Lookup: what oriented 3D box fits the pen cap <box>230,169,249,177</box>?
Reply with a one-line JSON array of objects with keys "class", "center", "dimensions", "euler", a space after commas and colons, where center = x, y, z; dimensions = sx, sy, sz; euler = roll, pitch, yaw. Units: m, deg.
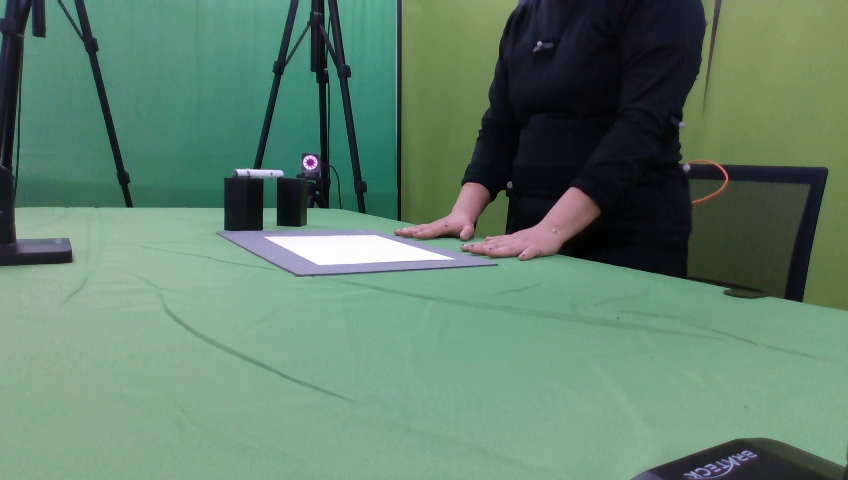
[{"class": "pen cap", "center": [-0.347, -0.125, 1.138], "dimensions": [0.017, 0.017, 0.038], "euler": [6, 8, 21]}]

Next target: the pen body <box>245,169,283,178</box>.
[{"class": "pen body", "center": [-0.325, -0.130, 1.195], "dimensions": [0.017, 0.017, 0.144], "euler": [6, 7, 22]}]
